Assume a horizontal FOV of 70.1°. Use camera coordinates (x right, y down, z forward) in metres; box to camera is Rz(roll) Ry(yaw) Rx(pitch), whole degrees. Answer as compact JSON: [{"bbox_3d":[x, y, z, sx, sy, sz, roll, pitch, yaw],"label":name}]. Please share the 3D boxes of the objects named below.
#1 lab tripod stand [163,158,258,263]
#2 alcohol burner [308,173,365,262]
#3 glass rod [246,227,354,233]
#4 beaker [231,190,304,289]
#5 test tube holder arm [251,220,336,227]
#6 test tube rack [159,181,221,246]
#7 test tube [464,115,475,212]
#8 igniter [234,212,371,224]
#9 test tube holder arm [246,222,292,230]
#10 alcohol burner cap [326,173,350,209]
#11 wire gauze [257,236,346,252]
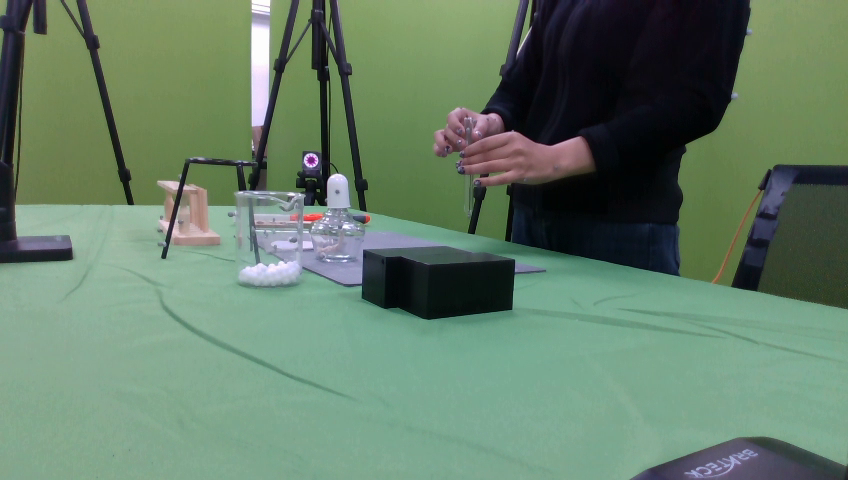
[{"bbox_3d":[-0.265,-0.041,0.802,0.148,0.131,0.148,4,7,0],"label":"lab tripod stand"},{"bbox_3d":[-0.117,-0.030,0.813,0.078,0.119,0.078,3,9,0],"label":"alcohol burner"},{"bbox_3d":[-0.224,-0.017,1.109,0.201,0.008,0.008,1,7,-27],"label":"glass rod"},{"bbox_3d":[-0.166,-0.001,0.653,0.074,0.100,0.083,-4,10,-40],"label":"beaker"},{"bbox_3d":[-0.253,-0.031,1.156,0.179,0.015,0.013,-2,43,-30],"label":"test tube holder arm"},{"bbox_3d":[-0.395,-0.050,1.010,0.067,0.085,0.241,-2,8,-28],"label":"test tube rack"},{"bbox_3d":[0.070,-0.118,0.940,0.017,0.150,0.017,0,5,0],"label":"test tube"},{"bbox_3d":[-0.245,-0.045,1.248,0.278,0.025,0.057,-1,-2,-25],"label":"igniter"},{"bbox_3d":[-0.291,-0.026,1.130,0.088,0.015,0.010,-1,43,-29],"label":"test tube holder arm"},{"bbox_3d":[-0.116,-0.065,0.808,0.034,0.048,0.034,-3,10,1],"label":"alcohol burner cap"},{"bbox_3d":[-0.189,0.005,0.931,0.122,0.011,0.124,1,7,-21],"label":"wire gauze"}]
